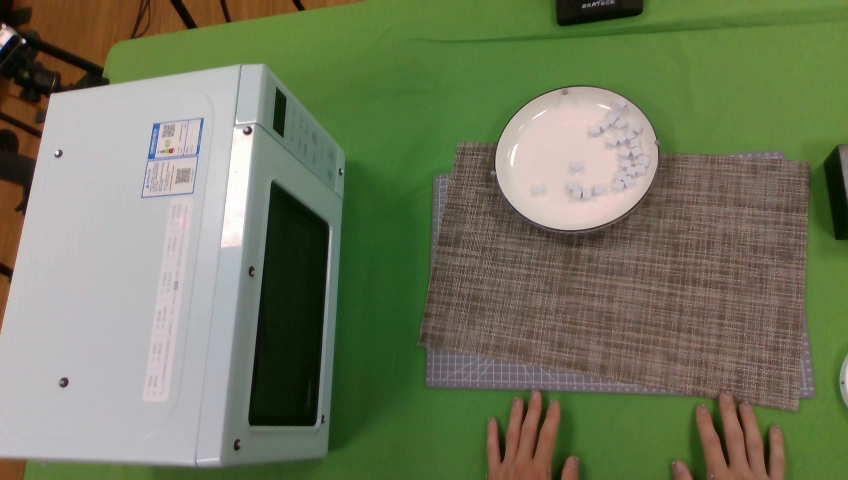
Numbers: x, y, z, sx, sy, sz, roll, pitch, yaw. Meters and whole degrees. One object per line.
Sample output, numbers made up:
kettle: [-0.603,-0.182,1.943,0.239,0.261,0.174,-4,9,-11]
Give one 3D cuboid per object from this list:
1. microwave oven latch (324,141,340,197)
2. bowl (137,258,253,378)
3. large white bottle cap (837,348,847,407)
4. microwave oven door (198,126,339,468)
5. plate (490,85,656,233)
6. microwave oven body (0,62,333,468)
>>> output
microwave oven latch: [-0.138,-0.102,0.875,0.030,0.030,0.078,-4,74,14]
bowl: [-0.278,0.106,0.781,0.151,0.077,0.150,-4,72,14]
large white bottle cap: [0.510,0.154,0.648,0.114,0.018,0.114,-4,73,14]
microwave oven door: [-0.170,0.078,0.720,0.039,0.246,0.353,-4,73,15]
plate: [0.193,-0.104,0.798,0.208,0.038,0.208,-5,71,14]
microwave oven body: [-0.310,0.049,0.773,0.325,0.262,0.439,-4,74,14]
